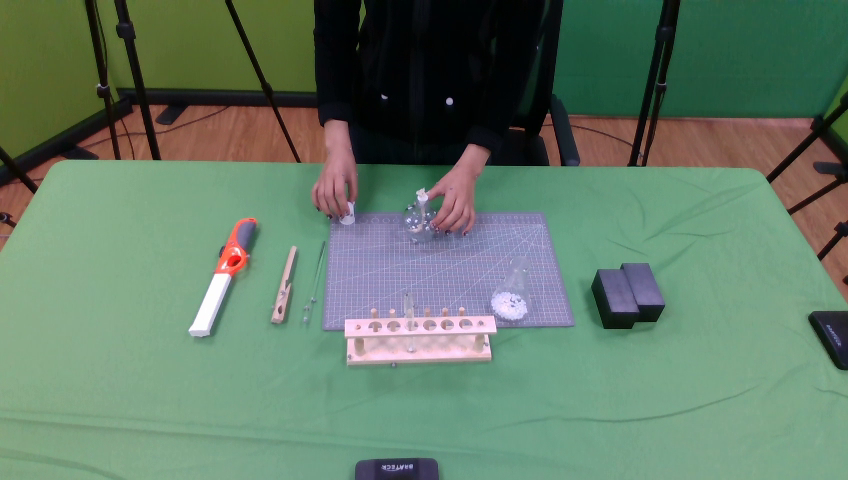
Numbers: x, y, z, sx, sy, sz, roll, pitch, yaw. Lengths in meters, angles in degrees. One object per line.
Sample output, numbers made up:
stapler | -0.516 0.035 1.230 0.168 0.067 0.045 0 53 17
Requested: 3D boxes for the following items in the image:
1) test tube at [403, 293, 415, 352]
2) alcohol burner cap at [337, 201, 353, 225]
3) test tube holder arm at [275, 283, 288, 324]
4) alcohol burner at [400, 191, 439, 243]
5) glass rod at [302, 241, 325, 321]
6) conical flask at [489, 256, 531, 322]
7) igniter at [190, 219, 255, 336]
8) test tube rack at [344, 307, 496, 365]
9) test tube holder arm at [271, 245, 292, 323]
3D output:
test tube | -0.024 0.133 0.957 0.017 0.151 0.017 0 49 0
alcohol burner cap | -0.160 -0.056 1.224 0.034 0.048 0.033 3 48 -3
test tube holder arm | -0.254 0.111 1.077 0.010 0.015 0.087 30 38 -27
alcohol burner | -0.007 -0.052 1.182 0.078 0.119 0.077 3 47 -3
glass rod | -0.203 0.071 1.124 0.008 0.008 0.198 4 44 1
conical flask | 0.158 0.081 1.061 0.075 0.122 0.075 2 46 -2
igniter | -0.365 0.058 1.110 0.057 0.025 0.275 -1 45 8
test tube rack | -0.009 0.154 1.007 0.242 0.085 0.066 -1 46 -5
test tube holder arm | -0.259 0.076 1.106 0.013 0.015 0.177 29 38 -29
